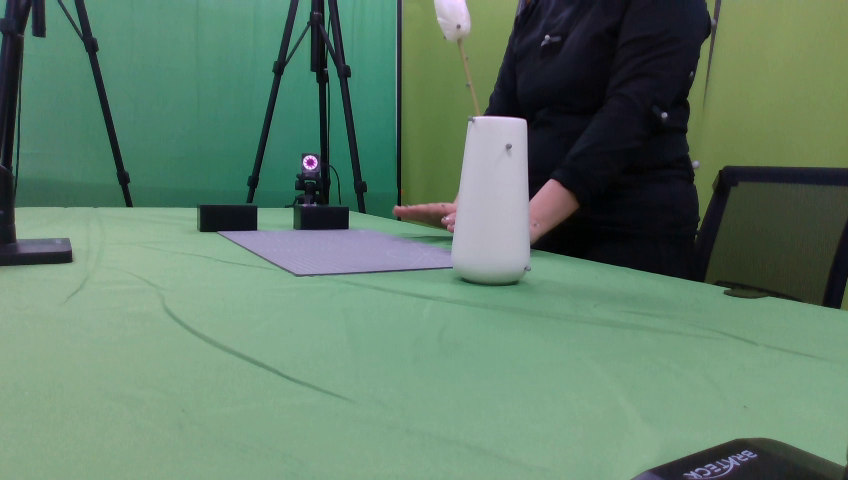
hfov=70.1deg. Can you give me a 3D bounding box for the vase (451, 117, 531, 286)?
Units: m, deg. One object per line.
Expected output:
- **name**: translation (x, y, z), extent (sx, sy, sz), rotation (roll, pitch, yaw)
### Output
- **vase**: translation (0.083, -0.047, 0.737), extent (0.098, 0.200, 0.098), rotation (1, 6, 0)

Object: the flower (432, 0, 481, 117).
- **flower**: translation (0.071, -0.129, 0.736), extent (0.038, 0.361, 0.044), rotation (-16, -2, 40)
